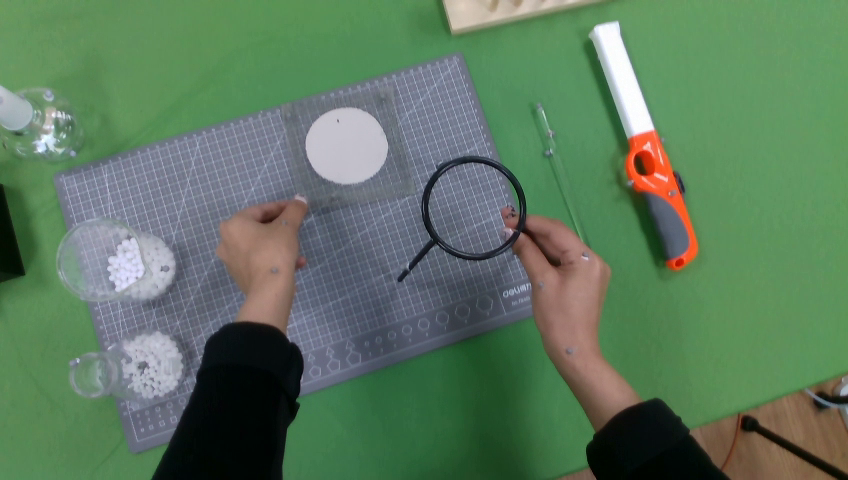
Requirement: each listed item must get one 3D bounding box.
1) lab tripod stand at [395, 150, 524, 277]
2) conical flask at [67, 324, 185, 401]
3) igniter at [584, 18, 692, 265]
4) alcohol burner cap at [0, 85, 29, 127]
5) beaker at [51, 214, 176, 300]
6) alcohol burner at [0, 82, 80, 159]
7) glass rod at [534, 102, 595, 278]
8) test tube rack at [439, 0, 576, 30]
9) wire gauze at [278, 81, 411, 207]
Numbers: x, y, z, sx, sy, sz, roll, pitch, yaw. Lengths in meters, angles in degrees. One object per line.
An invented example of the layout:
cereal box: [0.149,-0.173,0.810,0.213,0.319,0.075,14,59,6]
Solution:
lab tripod stand: [0.031,-0.019,0.567,0.149,0.131,0.148,1,84,-7]
conical flask: [-0.274,0.115,0.552,0.075,0.122,0.075,0,83,-3]
igniter: [0.232,-0.108,0.653,0.057,0.025,0.276,-16,84,-14]
alcohol burner cap: [-0.386,-0.126,0.545,0.034,0.048,0.033,0,77,-1]
beaker: [-0.283,0.021,0.573,0.084,0.100,0.074,18,83,-1]
alcohol burner: [-0.387,-0.119,0.580,0.078,0.119,0.077,0,84,-1]
glass rod: [0.151,-0.055,0.653,0.008,0.008,0.199,-17,87,-5]
test tube rack: [0.136,-0.299,0.641,0.242,0.085,0.066,-15,84,-4]
wire gauze: [-0.085,-0.102,0.644,0.125,0.011,0.121,-10,84,-7]
